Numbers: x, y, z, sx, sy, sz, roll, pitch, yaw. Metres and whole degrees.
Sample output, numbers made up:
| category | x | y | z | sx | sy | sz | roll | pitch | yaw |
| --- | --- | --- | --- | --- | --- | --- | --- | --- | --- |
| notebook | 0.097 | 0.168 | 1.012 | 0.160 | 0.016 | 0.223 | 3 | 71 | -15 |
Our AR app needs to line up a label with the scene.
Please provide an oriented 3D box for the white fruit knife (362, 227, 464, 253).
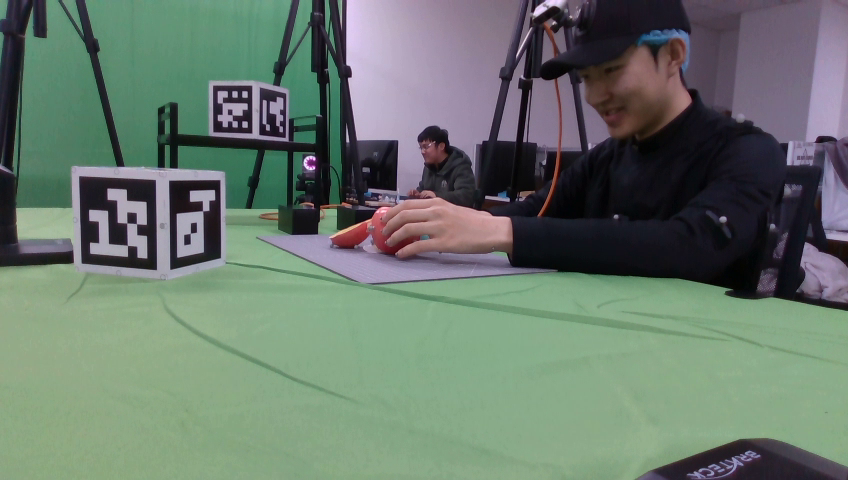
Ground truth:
| category | x | y | z | sx | sy | sz | roll | pitch | yaw |
| --- | --- | --- | --- | --- | --- | --- | --- | --- | --- |
| white fruit knife | -0.014 | 0.000 | 0.976 | 0.208 | 0.027 | 0.016 | -9 | 9 | -40 |

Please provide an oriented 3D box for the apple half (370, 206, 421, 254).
| category | x | y | z | sx | sy | sz | roll | pitch | yaw |
| --- | --- | --- | --- | --- | --- | --- | --- | --- | --- |
| apple half | -0.036 | -0.014 | 0.920 | 0.081 | 0.074 | 0.053 | 2 | 10 | -44 |

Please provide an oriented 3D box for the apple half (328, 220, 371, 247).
| category | x | y | z | sx | sy | sz | roll | pitch | yaw |
| --- | --- | --- | --- | --- | --- | --- | --- | --- | --- |
| apple half | -0.111 | -0.007 | 0.971 | 0.081 | 0.033 | 0.081 | -17 | 9 | 3 |
